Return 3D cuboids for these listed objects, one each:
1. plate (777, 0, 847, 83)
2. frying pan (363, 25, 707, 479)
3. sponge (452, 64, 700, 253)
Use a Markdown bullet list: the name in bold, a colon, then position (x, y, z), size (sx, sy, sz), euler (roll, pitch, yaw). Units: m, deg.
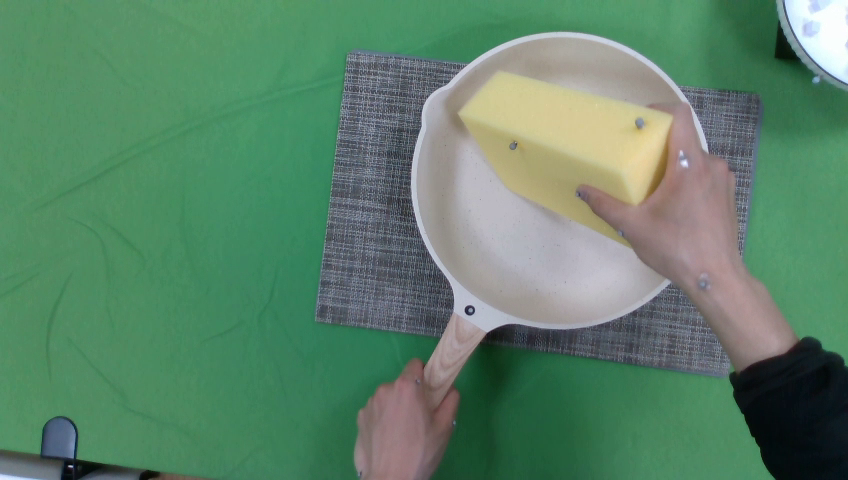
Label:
- **plate**: position (0.439, -0.245, 0.582), size (0.207, 0.039, 0.207), euler (0, 90, 1)
- **frying pan**: position (0.075, 0.022, 0.610), size (0.306, 0.103, 0.487), euler (32, 83, 4)
- **sponge**: position (0.131, -0.079, 0.546), size (0.061, 0.204, 0.119), euler (-49, 132, -6)
